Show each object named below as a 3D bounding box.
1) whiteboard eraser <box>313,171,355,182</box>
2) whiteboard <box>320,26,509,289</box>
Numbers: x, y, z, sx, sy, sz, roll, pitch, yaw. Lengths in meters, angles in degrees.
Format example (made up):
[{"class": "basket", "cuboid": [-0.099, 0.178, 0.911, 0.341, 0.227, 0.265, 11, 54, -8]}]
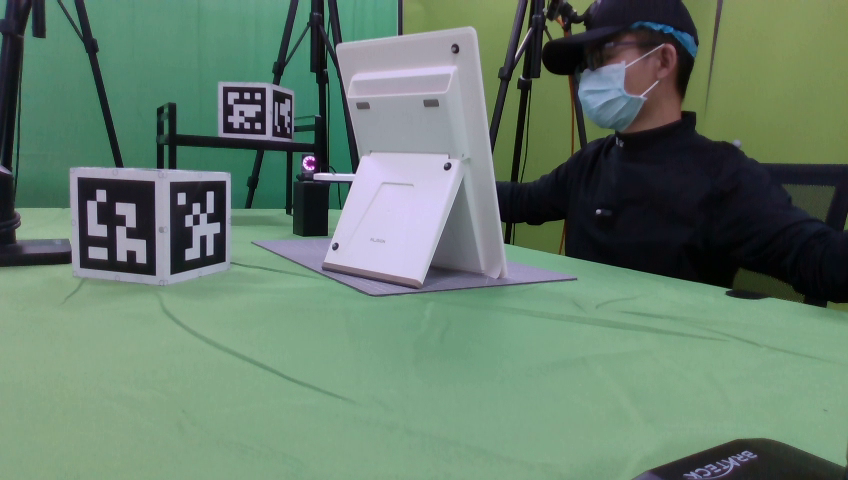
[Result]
[{"class": "whiteboard eraser", "cuboid": [-0.166, -0.122, 1.165, 0.102, 0.019, 0.041, -2, 7, -34]}, {"class": "whiteboard", "cuboid": [-0.045, -0.076, 0.721, 0.216, 0.305, 0.144, 9, 29, 39]}]
